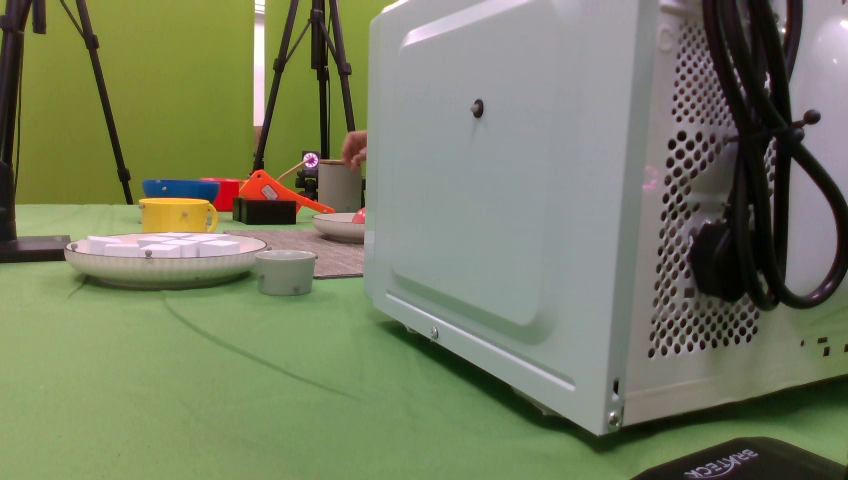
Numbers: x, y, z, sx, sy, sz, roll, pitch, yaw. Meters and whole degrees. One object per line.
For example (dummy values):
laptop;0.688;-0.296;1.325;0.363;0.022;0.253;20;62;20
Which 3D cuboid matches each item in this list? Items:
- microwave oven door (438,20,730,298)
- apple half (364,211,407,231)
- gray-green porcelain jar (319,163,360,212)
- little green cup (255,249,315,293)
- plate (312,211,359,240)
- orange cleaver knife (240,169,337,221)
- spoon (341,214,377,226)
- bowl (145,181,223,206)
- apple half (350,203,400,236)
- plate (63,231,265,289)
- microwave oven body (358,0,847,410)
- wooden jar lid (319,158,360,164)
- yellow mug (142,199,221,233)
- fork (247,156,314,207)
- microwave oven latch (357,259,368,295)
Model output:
microwave oven door;0.181;-0.076;0.618;0.358;0.243;0.039;-2;9;-28
apple half;-0.068;-0.037;1.103;0.081;0.033;0.081;-1;10;0
gray-green porcelain jar;-0.205;-0.126;1.489;0.106;0.126;0.106;2;7;0
little green cup;-0.144;0.031;0.627;0.061;0.038;0.061;2;6;0
plate;-0.091;-0.026;1.063;0.209;0.038;0.209;2;7;0
orange cleaver knife;-0.287;-0.082;1.298;0.212;0.077;0.012;25;-2;-31
spoon;-0.132;-0.048;1.305;0.041;0.021;0.194;-15;3;14
bowl;-0.499;-0.081;1.261;0.151;0.077;0.151;2;7;0
apple half;-0.081;-0.036;1.024;0.081;0.053;0.074;-2;11;-34
plate;-0.288;0.021;0.687;0.208;0.039;0.207;2;8;0
microwave oven body;0.210;-0.051;0.471;0.444;0.260;0.324;-1;7;-28
wooden jar lid;-0.203;-0.189;1.481;0.108;0.020;0.108;2;10;0
yellow mug;-0.372;-0.030;0.948;0.099;0.064;0.131;6;7;30
fork;-0.360;-0.147;1.523;0.207;0.018;0.028;-43;15;-7
microwave oven latch;-0.019;0.031;0.529;0.079;0.029;0.030;-1;7;-26
